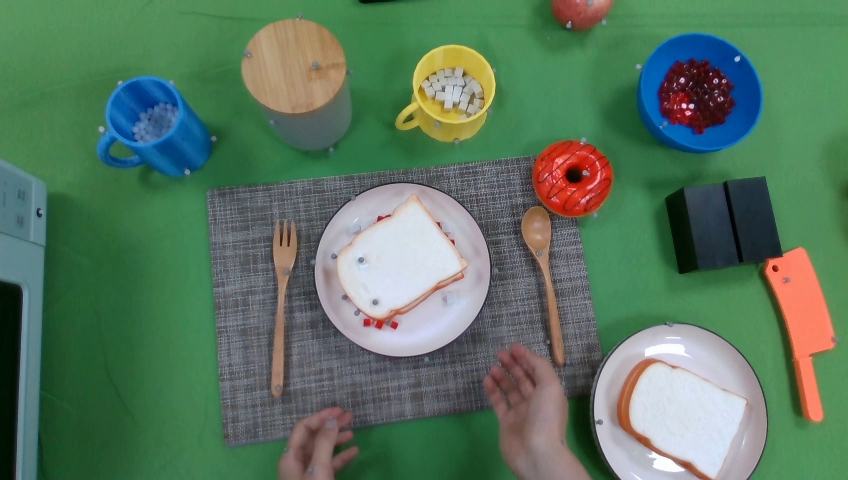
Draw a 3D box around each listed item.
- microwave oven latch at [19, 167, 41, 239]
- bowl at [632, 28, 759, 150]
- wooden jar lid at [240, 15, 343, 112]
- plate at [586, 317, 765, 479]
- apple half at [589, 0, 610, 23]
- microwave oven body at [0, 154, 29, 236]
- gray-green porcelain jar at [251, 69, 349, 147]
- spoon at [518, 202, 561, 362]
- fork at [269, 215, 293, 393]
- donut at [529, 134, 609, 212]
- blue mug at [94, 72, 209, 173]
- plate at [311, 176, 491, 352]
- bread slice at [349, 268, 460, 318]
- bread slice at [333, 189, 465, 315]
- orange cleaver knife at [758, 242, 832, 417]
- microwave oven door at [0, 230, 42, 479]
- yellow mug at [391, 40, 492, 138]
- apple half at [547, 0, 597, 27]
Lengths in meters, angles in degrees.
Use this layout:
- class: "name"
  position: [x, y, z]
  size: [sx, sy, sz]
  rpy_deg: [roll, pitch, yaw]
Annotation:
- class: "microwave oven latch"
  position: [-0.455, -0.041, 0.687]
  size: [0.030, 0.029, 0.079]
  rpy_deg: [-3, 81, -4]
- class: "bowl"
  position: [0.324, -0.175, 0.757]
  size: [0.151, 0.077, 0.151]
  rpy_deg: [1, 80, -3]
- class: "wooden jar lid"
  position: [-0.139, -0.185, 0.643]
  size: [0.108, 0.021, 0.108]
  rpy_deg: [1, 78, -2]
- class: "plate"
  position: [0.289, 0.195, 0.710]
  size: [0.209, 0.038, 0.208]
  rpy_deg: [1, 80, -3]
- class: "apple half"
  position: [0.208, -0.324, 0.779]
  size: [0.053, 0.075, 0.080]
  rpy_deg: [-39, 80, -14]
- class: "microwave oven body"
  position: [-0.585, 0.123, 0.552]
  size: [0.326, 0.261, 0.440]
  rpy_deg: [-4, 81, -5]
- class: "gray-green porcelain jar"
  position: [-0.142, -0.172, 0.704]
  size: [0.106, 0.127, 0.105]
  rpy_deg: [1, 79, -3]
- class: "spoon"
  position: [0.144, 0.050, 0.730]
  size: [0.042, 0.021, 0.193]
  rpy_deg: [-4, 79, -27]
- class: "fork"
  position: [-0.171, 0.073, 0.708]
  size: [0.028, 0.018, 0.206]
  rpy_deg: [2, 78, -11]
- class: "donut"
  position: [0.177, -0.082, 0.745]
  size: [0.099, 0.048, 0.098]
  rpy_deg: [1, 80, -4]
- class: "blue mug"
  position: [-0.317, -0.123, 0.694]
  size: [0.116, 0.106, 0.082]
  rpy_deg: [-32, 83, -8]
- class: "plate"
  position: [-0.027, 0.028, 0.716]
  size: [0.208, 0.039, 0.207]
  rpy_deg: [1, 80, -3]
- class: "bread slice"
  position: [-0.036, 0.031, 0.718]
  size: [0.131, 0.019, 0.104]
  rpy_deg: [-34, 85, -10]
- class: "bread slice"
  position: [-0.035, 0.023, 0.692]
  size: [0.134, 0.018, 0.106]
  rpy_deg: [-38, 81, -10]
- class: "orange cleaver knife"
  position: [0.466, 0.107, 0.746]
  size: [0.077, 0.012, 0.210]
  rpy_deg: [-5, 79, -11]
- class: "microwave oven door"
  position: [-0.436, 0.155, 0.551]
  size: [0.039, 0.244, 0.354]
  rpy_deg: [-4, 80, -4]
- class: "yellow mug"
  position: [0.017, -0.177, 0.745]
  size: [0.131, 0.064, 0.099]
  rpy_deg: [-31, 83, -7]
- class: "apple half"
  position: [0.179, -0.299, 0.771]
  size: [0.033, 0.081, 0.081]
  rpy_deg: [-40, 84, -14]
